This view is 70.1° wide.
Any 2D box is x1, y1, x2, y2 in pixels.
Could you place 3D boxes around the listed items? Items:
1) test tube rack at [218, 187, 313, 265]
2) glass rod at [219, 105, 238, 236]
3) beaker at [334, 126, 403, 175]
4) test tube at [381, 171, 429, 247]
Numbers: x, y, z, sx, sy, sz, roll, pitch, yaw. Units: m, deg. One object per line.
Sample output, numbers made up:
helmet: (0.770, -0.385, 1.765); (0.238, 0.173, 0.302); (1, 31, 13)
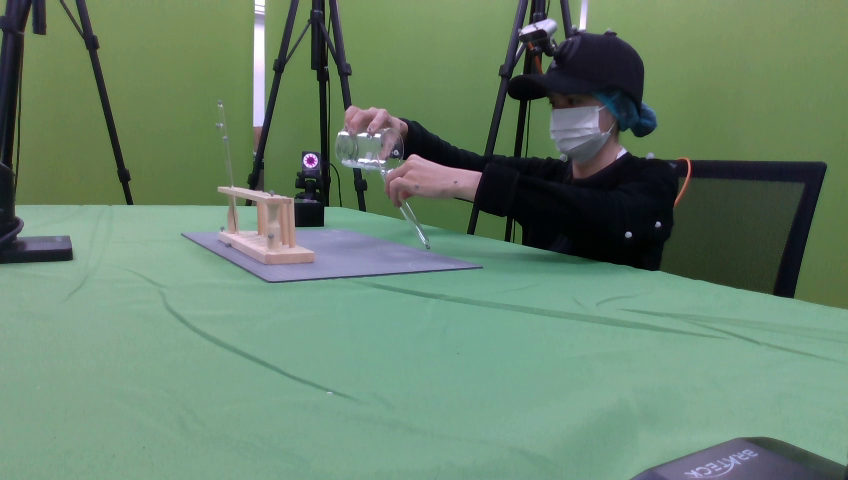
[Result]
test tube rack: (-0.235, -0.027, 0.872); (0.067, 0.085, 0.241); (-1, 8, -32)
glass rod: (-0.294, -0.100, 0.908); (0.008, 0.199, 0.008); (-3, 12, 1)
beaker: (-0.097, -0.154, 1.031); (0.100, 0.084, 0.074); (10, -3, 33)
test tube: (-0.032, -0.051, 0.979); (0.017, 0.149, 0.017); (-26, -22, -11)
